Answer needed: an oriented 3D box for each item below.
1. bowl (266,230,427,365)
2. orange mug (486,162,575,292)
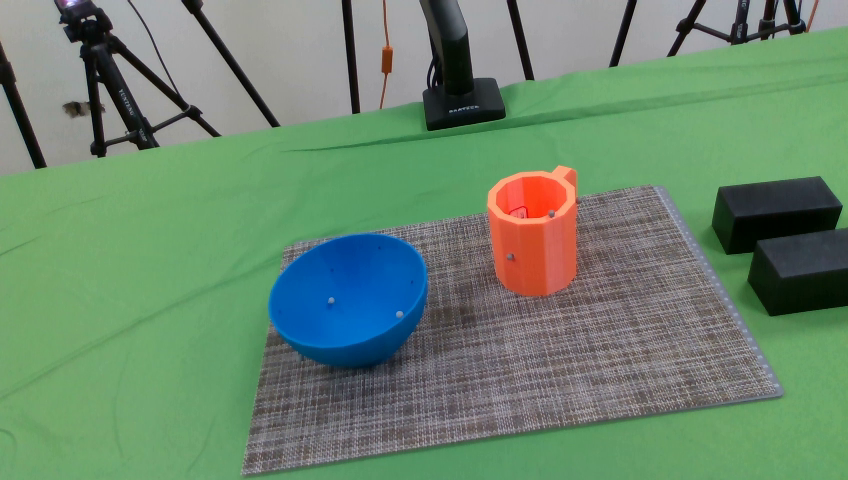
[{"bbox_3d":[-0.065,0.067,0.583,0.151,0.077,0.150,-7,40,6],"label":"bowl"},{"bbox_3d":[0.120,-0.021,0.623,0.083,0.102,0.126,21,54,33],"label":"orange mug"}]
